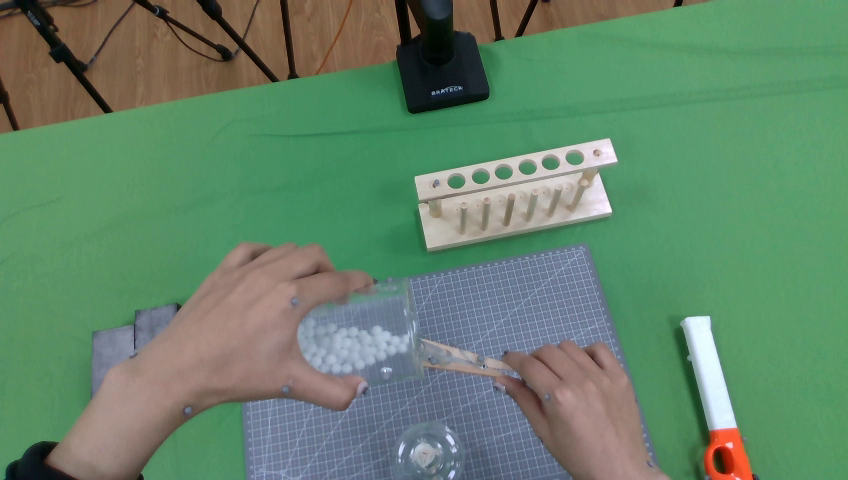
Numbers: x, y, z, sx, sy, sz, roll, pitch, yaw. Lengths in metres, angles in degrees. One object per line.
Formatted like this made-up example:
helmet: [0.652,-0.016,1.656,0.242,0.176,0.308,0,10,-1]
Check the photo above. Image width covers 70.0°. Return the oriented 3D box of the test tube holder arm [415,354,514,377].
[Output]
test tube holder arm: [0.036,0.110,0.532,0.087,0.015,0.010,4,79,14]

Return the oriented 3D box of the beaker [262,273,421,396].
beaker: [-0.057,0.070,0.435,0.100,0.085,0.073,-10,58,0]

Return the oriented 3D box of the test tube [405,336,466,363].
test tube: [0.013,0.102,0.536,0.017,0.151,0.017,-5,73,17]

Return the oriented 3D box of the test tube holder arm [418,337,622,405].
test tube holder arm: [0.080,0.112,0.522,0.178,0.015,0.013,12,82,15]

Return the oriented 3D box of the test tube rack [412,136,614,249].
test tube rack: [0.111,-0.057,0.758,0.242,0.086,0.066,-11,66,-2]

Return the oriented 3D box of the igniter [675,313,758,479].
igniter: [0.324,0.214,0.663,0.057,0.025,0.274,-1,67,-8]

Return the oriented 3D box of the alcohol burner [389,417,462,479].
alcohol burner: [0.001,0.220,0.627,0.078,0.120,0.077,-1,64,2]
